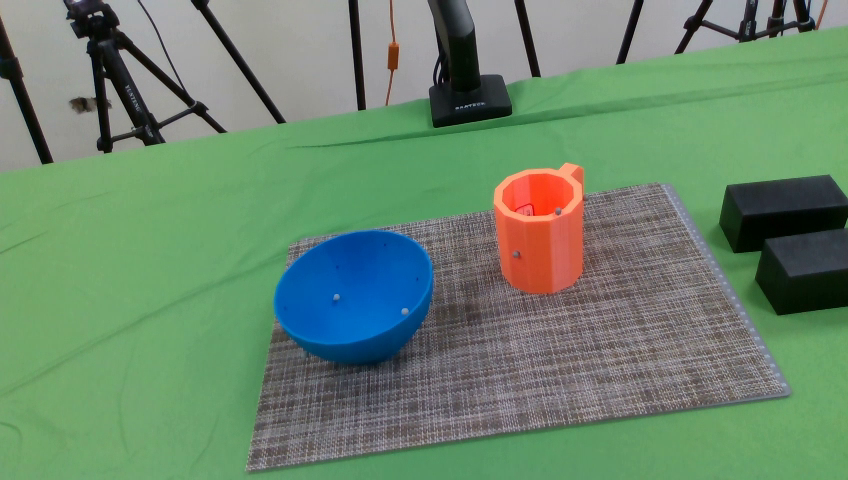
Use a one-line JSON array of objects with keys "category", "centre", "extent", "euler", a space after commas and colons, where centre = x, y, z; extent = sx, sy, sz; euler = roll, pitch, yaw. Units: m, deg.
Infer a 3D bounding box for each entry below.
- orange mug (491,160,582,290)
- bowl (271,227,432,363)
[{"category": "orange mug", "centre": [0.126, -0.023, 0.621], "extent": [0.083, 0.102, 0.126], "euler": [22, 55, 34]}, {"category": "bowl", "centre": [-0.061, 0.064, 0.582], "extent": [0.151, 0.077, 0.150], "euler": [-7, 40, 7]}]
